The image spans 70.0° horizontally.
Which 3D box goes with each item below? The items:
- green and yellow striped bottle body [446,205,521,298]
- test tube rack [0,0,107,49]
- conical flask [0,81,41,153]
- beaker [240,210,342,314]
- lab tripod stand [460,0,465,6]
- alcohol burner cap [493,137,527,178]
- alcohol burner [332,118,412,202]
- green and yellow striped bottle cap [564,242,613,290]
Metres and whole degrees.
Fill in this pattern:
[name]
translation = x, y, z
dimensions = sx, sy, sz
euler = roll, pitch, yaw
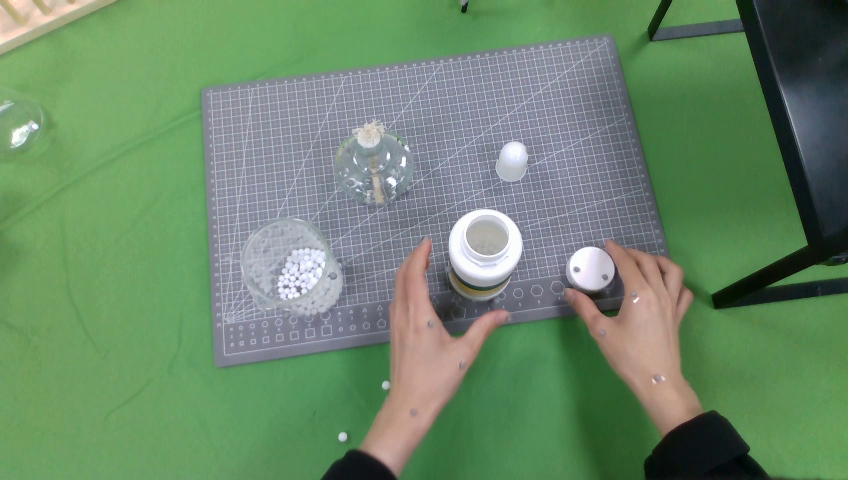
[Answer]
[green and yellow striped bottle body]
translation = 0.051, 0.010, 0.540
dimensions = 0.063, 0.120, 0.063
euler = 0, 74, 1
[test tube rack]
translation = -0.393, -0.302, 0.652
dimensions = 0.242, 0.085, 0.066
euler = -28, 75, -7
[conical flask]
translation = -0.445, -0.142, 0.590
dimensions = 0.075, 0.122, 0.075
euler = 0, 74, 1
[beaker]
translation = -0.116, 0.028, 0.548
dimensions = 0.074, 0.101, 0.083
euler = 21, 76, 8
[lab tripod stand]
translation = 0.096, -0.325, 0.628
dimensions = 0.148, 0.132, 0.147
euler = 0, 73, 0
[alcohol burner cap]
translation = 0.087, -0.085, 0.606
dimensions = 0.034, 0.048, 0.033
euler = 0, 74, 1
[alcohol burner]
translation = -0.050, -0.081, 0.570
dimensions = 0.078, 0.120, 0.077
euler = 0, 73, 0
[green and yellow striped bottle cap]
translation = 0.160, 0.025, 0.589
dimensions = 0.045, 0.020, 0.045
euler = 0, 76, 2
